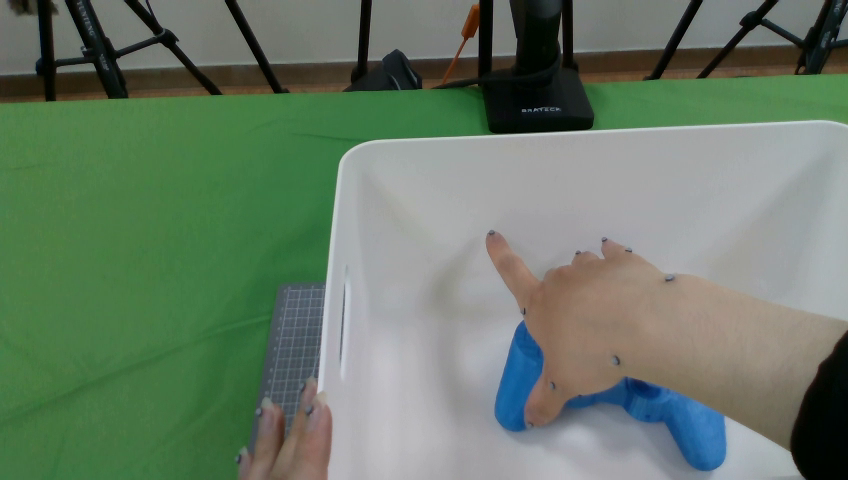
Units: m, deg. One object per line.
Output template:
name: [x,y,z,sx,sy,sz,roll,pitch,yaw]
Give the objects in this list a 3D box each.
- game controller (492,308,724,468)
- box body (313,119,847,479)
game controller: [0.132,0.096,0.431,0.155,0.052,0.096,10,39,11]
box body: [0.130,0.066,0.390,0.364,0.162,0.251,-3,46,-1]
